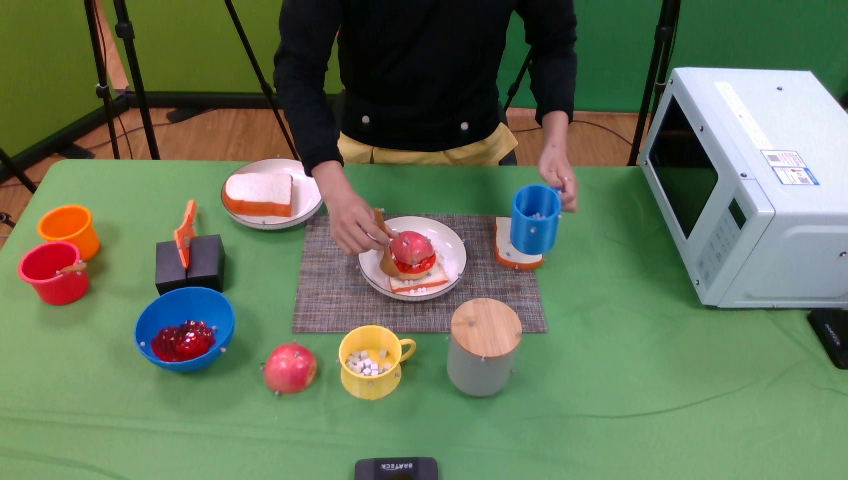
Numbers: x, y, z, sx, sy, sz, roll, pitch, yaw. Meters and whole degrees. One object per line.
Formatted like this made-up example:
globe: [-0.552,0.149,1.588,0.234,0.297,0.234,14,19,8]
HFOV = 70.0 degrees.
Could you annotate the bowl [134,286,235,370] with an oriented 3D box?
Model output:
bowl: [-0.377,0.155,0.981,0.151,0.077,0.150,2,46,-2]

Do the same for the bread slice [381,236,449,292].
bread slice: [-0.026,0.038,1.139,0.107,0.018,0.133,-12,46,-15]

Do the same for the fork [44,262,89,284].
fork: [-0.599,0.054,1.014,0.207,0.019,0.028,-15,29,45]

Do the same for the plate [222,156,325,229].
plate: [-0.308,-0.095,1.251,0.209,0.038,0.208,2,47,-2]

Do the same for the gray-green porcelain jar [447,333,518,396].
gray-green porcelain jar: [0.091,0.178,0.960,0.106,0.127,0.105,2,46,-2]

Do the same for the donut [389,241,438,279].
donut: [-0.025,0.029,1.110,0.099,0.048,0.098,2,46,-2]

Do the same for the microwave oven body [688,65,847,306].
microwave oven body: [0.669,-0.111,1.176,0.326,0.261,0.439,0,46,-3]

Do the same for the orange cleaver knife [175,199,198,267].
orange cleaver knife: [-0.438,-0.017,1.138,0.012,0.077,0.210,-14,27,-7]

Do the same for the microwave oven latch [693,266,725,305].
microwave oven latch: [0.523,0.082,1.115,0.030,0.029,0.078,3,46,0]

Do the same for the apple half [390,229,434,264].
apple half: [-0.022,0.003,1.085,0.081,0.033,0.081,7,45,-7]

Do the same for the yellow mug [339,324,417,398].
yellow mug: [-0.072,0.190,0.978,0.131,0.064,0.099,-17,51,-20]

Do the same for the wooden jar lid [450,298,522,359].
wooden jar lid: [0.093,0.135,0.914,0.108,0.021,0.107,3,49,-3]

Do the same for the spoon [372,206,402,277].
spoon: [-0.064,0.006,0.992,0.041,0.195,0.021,19,55,20]

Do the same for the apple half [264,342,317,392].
apple half: [-0.214,0.198,0.970,0.074,0.053,0.080,19,48,10]

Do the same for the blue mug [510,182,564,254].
blue mug: [0.208,-0.047,1.075,0.116,0.106,0.082,-39,61,-21]

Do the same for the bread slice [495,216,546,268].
bread slice: [0.194,0.002,1.205,0.105,0.019,0.131,5,45,2]

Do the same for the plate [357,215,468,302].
plate: [-0.022,0.037,1.141,0.208,0.039,0.206,2,46,-2]

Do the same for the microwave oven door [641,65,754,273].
microwave oven door: [0.524,-0.147,1.193,0.039,0.245,0.353,0,47,-3]
